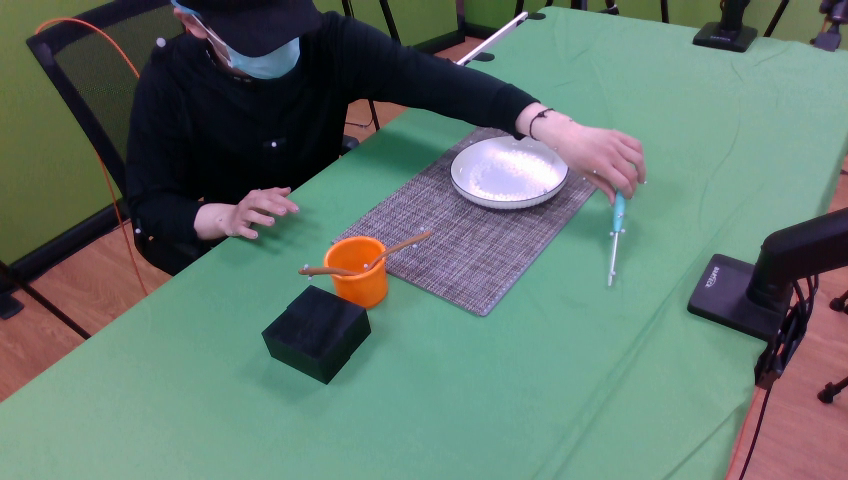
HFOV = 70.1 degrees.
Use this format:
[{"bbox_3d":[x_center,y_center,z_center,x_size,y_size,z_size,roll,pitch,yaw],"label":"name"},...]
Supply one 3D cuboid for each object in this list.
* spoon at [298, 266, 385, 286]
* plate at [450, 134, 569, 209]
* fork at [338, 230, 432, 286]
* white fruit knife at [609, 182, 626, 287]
[{"bbox_3d":[-0.111,0.047,0.826,0.041,0.195,0.021,-24,71,23],"label":"spoon"},{"bbox_3d":[0.150,-0.117,1.066,0.209,0.038,0.208,-4,41,4],"label":"plate"},{"bbox_3d":[-0.058,0.028,0.846,0.018,0.206,0.028,53,43,-3],"label":"fork"},{"bbox_3d":[0.294,-0.014,0.922,0.016,0.027,0.207,12,55,8],"label":"white fruit knife"}]
